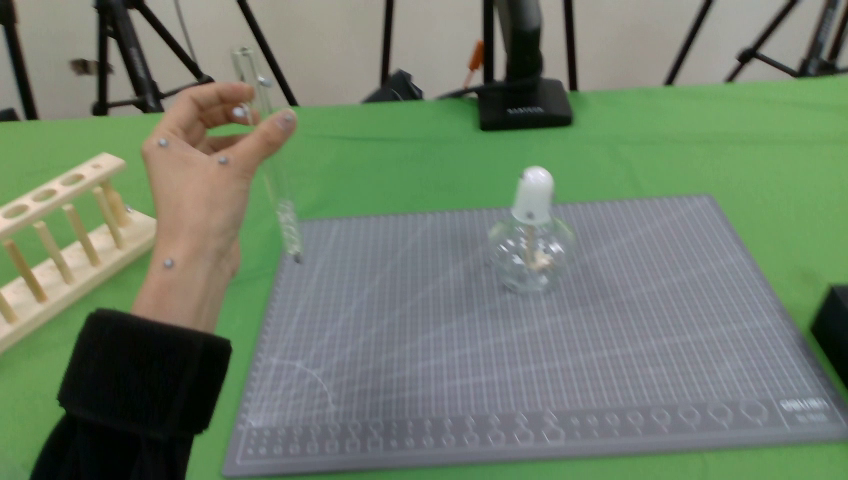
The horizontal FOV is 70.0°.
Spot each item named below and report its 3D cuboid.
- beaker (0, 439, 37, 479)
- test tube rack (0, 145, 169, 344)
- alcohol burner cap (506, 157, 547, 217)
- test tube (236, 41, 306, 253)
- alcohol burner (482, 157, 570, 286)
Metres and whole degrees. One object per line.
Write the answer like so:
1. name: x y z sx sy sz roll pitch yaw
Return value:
1. beaker: -0.301 0.153 0.378 0.084 0.101 0.073 -19 42 -16
2. test tube rack: -0.368 0.012 0.561 0.066 0.086 0.241 21 46 26
3. alcohol burner cap: 0.087 -0.046 0.505 0.034 0.048 0.033 2 40 -1
4. test tube: -0.099 -0.055 0.401 0.017 0.151 0.017 -4 34 3
5. alcohol burner: 0.089 -0.019 0.529 0.078 0.120 0.077 -3 39 3
